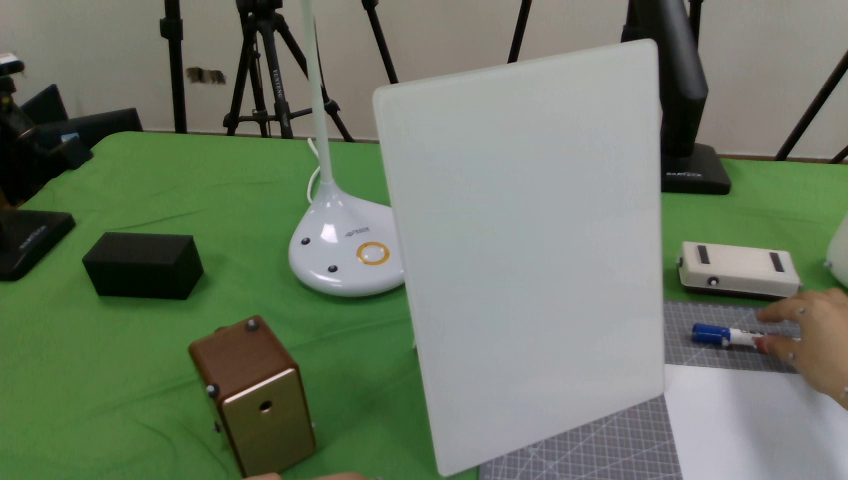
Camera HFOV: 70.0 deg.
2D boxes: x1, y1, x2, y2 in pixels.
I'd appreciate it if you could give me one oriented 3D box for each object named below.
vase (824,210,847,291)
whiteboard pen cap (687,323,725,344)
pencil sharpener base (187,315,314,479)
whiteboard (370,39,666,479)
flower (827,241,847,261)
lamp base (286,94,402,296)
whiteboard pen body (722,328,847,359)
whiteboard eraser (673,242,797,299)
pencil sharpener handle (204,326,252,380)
[{"bbox_3d":[0.480,-0.034,0.597,0.098,0.202,0.097,0,37,0],"label":"vase"},{"bbox_3d":[0.273,0.091,0.584,0.033,0.018,0.018,8,38,8],"label":"whiteboard pen cap"},{"bbox_3d":[-0.136,0.125,0.480,0.061,0.108,0.076,-24,42,-27],"label":"pencil sharpener base"},{"bbox_3d":[0.068,0.006,0.514,0.218,0.307,0.142,-14,20,-16],"label":"whiteboard"},{"bbox_3d":[0.486,-0.090,0.535,0.044,0.364,0.038,-10,55,-22],"label":"flower"},{"bbox_3d":[-0.088,-0.057,0.661,0.161,0.182,0.177,-28,42,-30],"label":"lamp base"},{"bbox_3d":[0.331,0.097,0.573,0.140,0.017,0.017,6,37,9],"label":"whiteboard pen body"},{"bbox_3d":[0.326,0.034,0.643,0.112,0.042,0.055,5,36,9],"label":"whiteboard eraser"},{"bbox_3d":[-0.164,0.090,0.507,0.036,0.068,0.030,-31,45,-21],"label":"pencil sharpener handle"}]
